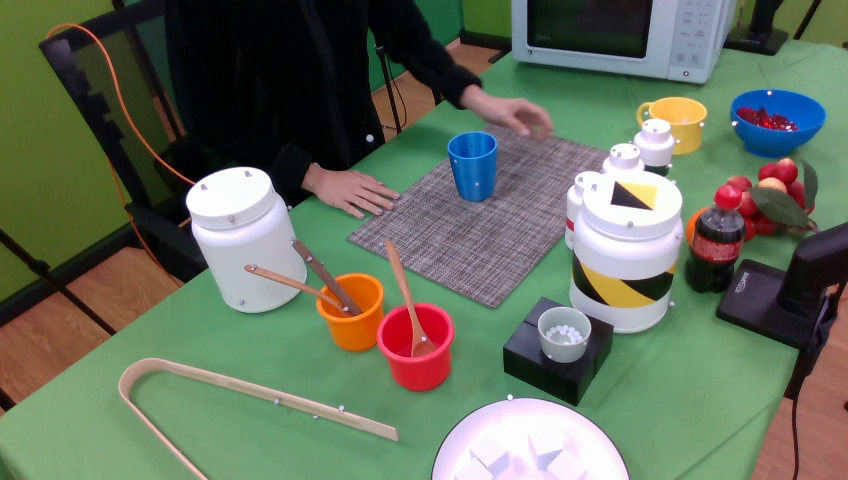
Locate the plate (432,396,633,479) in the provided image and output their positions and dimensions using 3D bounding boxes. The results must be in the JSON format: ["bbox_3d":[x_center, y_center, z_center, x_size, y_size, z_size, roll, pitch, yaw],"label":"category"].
[{"bbox_3d":[0.112,0.261,0.634,0.209,0.038,0.208,-5,40,4],"label":"plate"}]

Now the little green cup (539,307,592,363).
[{"bbox_3d":[0.168,0.114,0.721,0.061,0.039,0.061,-4,43,4],"label":"little green cup"}]

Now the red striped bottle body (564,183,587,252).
[{"bbox_3d":[0.246,-0.041,0.910,0.063,0.120,0.062,-2,38,2],"label":"red striped bottle body"}]

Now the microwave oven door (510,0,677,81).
[{"bbox_3d":[0.354,-0.478,1.290,0.353,0.245,0.039,15,45,25],"label":"microwave oven door"}]

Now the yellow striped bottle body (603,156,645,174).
[{"bbox_3d":[0.313,-0.089,0.956,0.063,0.121,0.062,-4,40,4],"label":"yellow striped bottle body"}]

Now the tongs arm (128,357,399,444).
[{"bbox_3d":[-0.213,0.205,0.755,0.382,0.026,0.051,12,46,23],"label":"tongs arm"}]

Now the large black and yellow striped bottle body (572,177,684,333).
[{"bbox_3d":[0.262,0.017,0.788,0.131,0.185,0.130,-5,40,4],"label":"large black and yellow striped bottle body"}]

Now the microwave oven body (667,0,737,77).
[{"bbox_3d":[0.462,-0.552,1.369,0.439,0.261,0.326,15,45,26],"label":"microwave oven body"}]

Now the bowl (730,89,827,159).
[{"bbox_3d":[0.615,-0.197,1.069,0.151,0.077,0.150,-5,40,5],"label":"bowl"}]

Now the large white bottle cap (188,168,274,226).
[{"bbox_3d":[-0.264,-0.061,0.831,0.115,0.018,0.114,-4,40,4],"label":"large white bottle cap"}]

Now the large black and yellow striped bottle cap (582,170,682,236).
[{"bbox_3d":[0.252,-0.048,0.735,0.115,0.019,0.114,-3,40,3],"label":"large black and yellow striped bottle cap"}]

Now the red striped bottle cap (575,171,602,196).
[{"bbox_3d":[0.242,-0.081,0.876,0.044,0.018,0.044,-5,44,5],"label":"red striped bottle cap"}]

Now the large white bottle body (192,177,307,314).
[{"bbox_3d":[-0.256,0.003,0.885,0.130,0.185,0.130,-4,40,4],"label":"large white bottle body"}]

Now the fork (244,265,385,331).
[{"bbox_3d":[-0.142,0.078,0.806,0.209,0.018,0.028,30,32,-24],"label":"fork"}]

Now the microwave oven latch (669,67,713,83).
[{"bbox_3d":[0.556,-0.348,1.261,0.078,0.029,0.030,16,46,27],"label":"microwave oven latch"}]

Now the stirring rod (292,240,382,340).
[{"bbox_3d":[-0.119,0.068,0.826,0.176,0.006,0.014,49,58,-4],"label":"stirring rod"}]

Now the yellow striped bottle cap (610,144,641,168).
[{"bbox_3d":[0.307,-0.128,0.923,0.044,0.019,0.044,-5,40,5],"label":"yellow striped bottle cap"}]

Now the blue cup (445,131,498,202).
[{"bbox_3d":[0.087,-0.122,1.040,0.092,0.100,0.092,-5,42,5],"label":"blue cup"}]

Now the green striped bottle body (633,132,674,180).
[{"bbox_3d":[0.376,-0.135,1.001,0.063,0.120,0.063,-5,40,5],"label":"green striped bottle body"}]

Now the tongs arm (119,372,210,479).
[{"bbox_3d":[-0.258,0.257,0.700,0.384,0.028,0.028,24,55,34],"label":"tongs arm"}]

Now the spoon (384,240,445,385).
[{"bbox_3d":[-0.016,0.090,0.776,0.042,0.021,0.193,-17,85,-10],"label":"spoon"}]

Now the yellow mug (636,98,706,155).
[{"bbox_3d":[0.453,-0.217,1.128,0.100,0.064,0.129,-34,46,-27],"label":"yellow mug"}]

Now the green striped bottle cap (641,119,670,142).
[{"bbox_3d":[0.371,-0.175,0.968,0.044,0.020,0.044,-5,41,5],"label":"green striped bottle cap"}]
